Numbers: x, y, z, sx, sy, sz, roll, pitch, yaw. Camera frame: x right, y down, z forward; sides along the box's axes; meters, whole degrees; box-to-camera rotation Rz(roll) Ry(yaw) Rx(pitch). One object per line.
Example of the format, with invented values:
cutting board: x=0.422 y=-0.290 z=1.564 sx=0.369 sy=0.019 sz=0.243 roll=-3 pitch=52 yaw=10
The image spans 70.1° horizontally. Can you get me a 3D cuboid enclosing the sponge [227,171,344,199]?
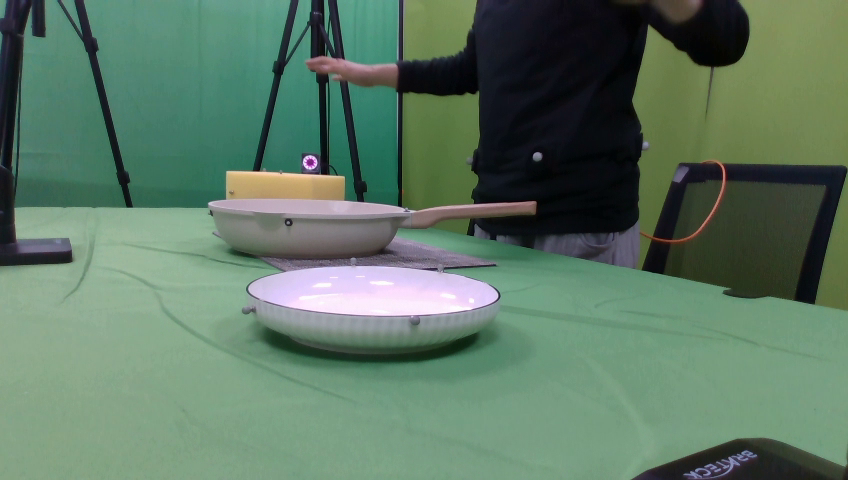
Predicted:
sponge: x=-0.283 y=-0.108 z=1.241 sx=0.206 sy=0.061 sz=0.118 roll=5 pitch=8 yaw=23

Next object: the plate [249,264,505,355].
plate: x=-0.038 y=0.056 z=0.504 sx=0.208 sy=0.039 sz=0.207 roll=2 pitch=7 yaw=0

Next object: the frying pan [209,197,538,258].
frying pan: x=-0.075 y=-0.034 z=0.912 sx=0.487 sy=0.102 sz=0.307 roll=-5 pitch=7 yaw=12
